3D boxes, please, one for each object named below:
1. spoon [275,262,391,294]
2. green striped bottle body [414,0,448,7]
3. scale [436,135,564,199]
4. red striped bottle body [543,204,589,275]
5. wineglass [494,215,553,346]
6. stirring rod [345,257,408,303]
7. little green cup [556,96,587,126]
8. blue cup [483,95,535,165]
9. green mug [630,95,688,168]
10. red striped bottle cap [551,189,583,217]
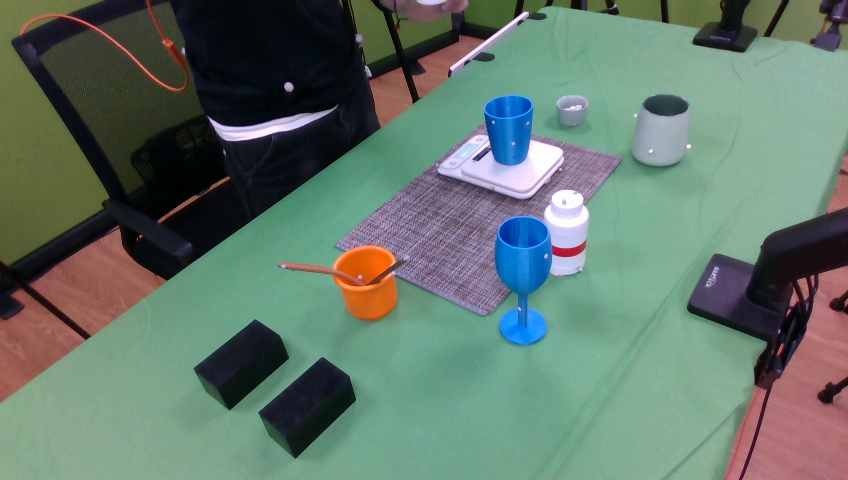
[{"bbox_3d":[-0.120,0.050,0.830,0.041,0.195,0.021,31,97,45],"label":"spoon"},{"bbox_3d":[0.005,-0.418,0.899,0.063,0.120,0.063,-6,47,7],"label":"green striped bottle body"},{"bbox_3d":[0.137,-0.142,1.101,0.199,0.032,0.149,22,48,30],"label":"scale"},{"bbox_3d":[0.206,-0.011,0.878,0.063,0.120,0.062,-5,41,4],"label":"red striped bottle body"},{"bbox_3d":[0.126,0.055,0.770,0.074,0.173,0.073,-4,40,4],"label":"wineglass"},{"bbox_3d":[-0.067,0.057,0.815,0.014,0.175,0.006,-24,82,-38],"label":"stirring rod"},{"bbox_3d":[0.295,-0.258,1.214,0.061,0.039,0.061,-4,42,4],"label":"little green cup"},{"bbox_3d":[0.148,-0.188,1.053,0.092,0.100,0.092,-6,39,5],"label":"blue cup"},{"bbox_3d":[0.421,-0.201,1.081,0.092,0.105,0.125,6,42,15],"label":"green mug"},{"bbox_3d":[0.200,-0.052,0.843,0.044,0.018,0.044,-2,42,2],"label":"red striped bottle cap"}]
